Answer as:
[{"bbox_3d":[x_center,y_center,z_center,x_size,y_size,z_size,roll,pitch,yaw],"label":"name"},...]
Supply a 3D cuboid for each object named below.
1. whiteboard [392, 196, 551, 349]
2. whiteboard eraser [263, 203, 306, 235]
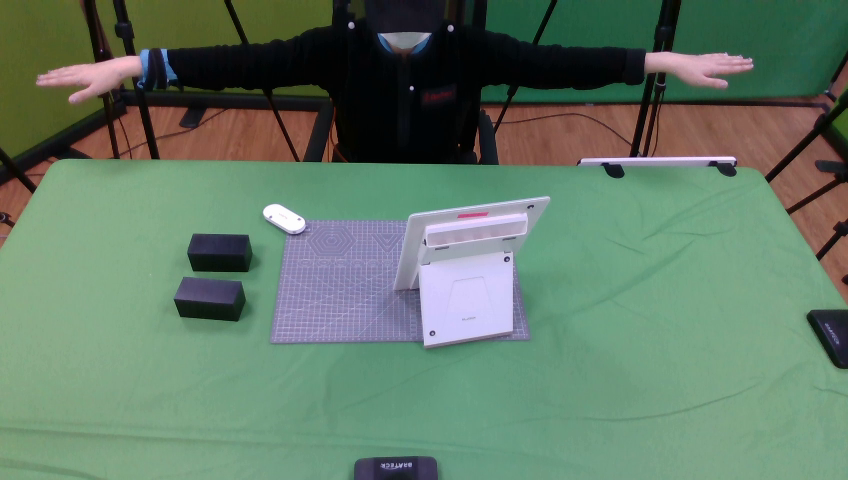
[{"bbox_3d":[0.077,0.071,0.977,0.217,0.306,0.143,-7,67,-11],"label":"whiteboard"},{"bbox_3d":[-0.281,-0.043,1.216,0.101,0.019,0.041,29,53,25],"label":"whiteboard eraser"}]
